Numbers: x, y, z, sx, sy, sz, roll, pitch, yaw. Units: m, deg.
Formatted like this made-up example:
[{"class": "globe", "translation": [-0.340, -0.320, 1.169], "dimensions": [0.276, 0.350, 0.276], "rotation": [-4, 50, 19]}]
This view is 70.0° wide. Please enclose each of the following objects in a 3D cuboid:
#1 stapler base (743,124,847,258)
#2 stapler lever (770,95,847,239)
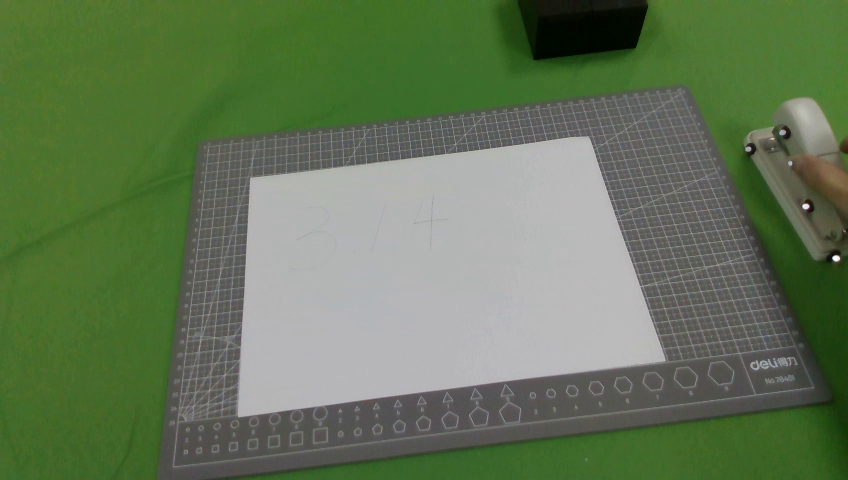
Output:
[{"class": "stapler base", "translation": [0.302, -0.047, 0.484], "dimensions": [0.041, 0.024, 0.129], "rotation": [-12, 60, 0]}, {"class": "stapler lever", "translation": [0.301, -0.059, 0.461], "dimensions": [0.027, 0.040, 0.117], "rotation": [-12, 60, 0]}]
